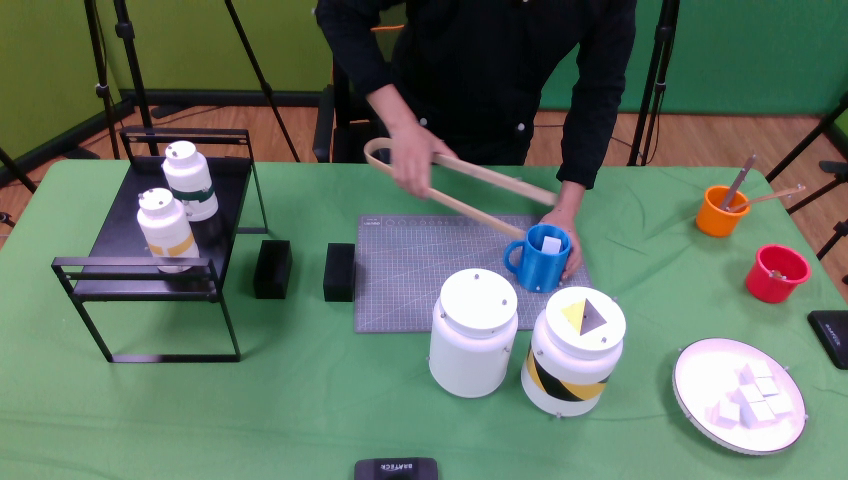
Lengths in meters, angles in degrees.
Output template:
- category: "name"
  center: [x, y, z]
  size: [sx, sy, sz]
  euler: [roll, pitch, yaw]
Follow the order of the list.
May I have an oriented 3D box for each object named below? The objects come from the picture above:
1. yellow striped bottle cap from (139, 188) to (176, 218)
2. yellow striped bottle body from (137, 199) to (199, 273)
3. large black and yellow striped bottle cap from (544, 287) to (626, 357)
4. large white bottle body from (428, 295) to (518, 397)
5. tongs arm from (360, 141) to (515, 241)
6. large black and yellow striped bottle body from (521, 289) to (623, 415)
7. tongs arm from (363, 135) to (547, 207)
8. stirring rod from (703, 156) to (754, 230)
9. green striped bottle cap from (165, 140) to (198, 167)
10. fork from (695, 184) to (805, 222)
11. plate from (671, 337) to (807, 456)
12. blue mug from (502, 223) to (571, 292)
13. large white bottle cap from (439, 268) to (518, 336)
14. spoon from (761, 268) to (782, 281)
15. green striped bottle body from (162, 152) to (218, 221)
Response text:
- category: "yellow striped bottle cap"
  center: [-0.363, -0.051, 0.826]
  size: [0.044, 0.019, 0.044]
  euler: [1, 47, -1]
- category: "yellow striped bottle body"
  center: [-0.366, -0.014, 0.864]
  size: [0.063, 0.121, 0.062]
  euler: [2, 46, -2]
- category: "large black and yellow striped bottle cap"
  center: [0.232, 0.116, 0.876]
  size: [0.115, 0.019, 0.114]
  euler: [2, 46, -1]
- category: "large white bottle body"
  center: [0.076, 0.147, 0.950]
  size: [0.131, 0.185, 0.130]
  euler: [2, 46, -2]
- category: "tongs arm"
  center: [0.010, -0.093, 1.086]
  size: [0.385, 0.028, 0.028]
  euler: [32, 65, 32]
- category: "large black and yellow striped bottle body"
  center: [0.228, 0.173, 0.938]
  size: [0.131, 0.185, 0.130]
  euler: [2, 47, -2]
- category: "tongs arm"
  center: [0.045, -0.127, 1.112]
  size: [0.383, 0.027, 0.050]
  euler: [27, 59, 29]
- category: "stirring rod"
  center: [0.631, -0.098, 1.258]
  size: [0.014, 0.006, 0.176]
  euler: [33, 95, 29]
- category: "green striped bottle cap"
  center: [-0.361, -0.128, 0.902]
  size: [0.044, 0.020, 0.044]
  euler: [3, 47, -3]
- category: "fork"
  center: [0.657, -0.075, 1.230]
  size: [0.207, 0.019, 0.028]
  euler: [-23, 34, 37]
- category: "plate"
  center: [0.503, 0.254, 0.984]
  size: [0.208, 0.039, 0.206]
  euler: [2, 46, -2]
- category: "blue mug"
  center: [0.202, 0.031, 1.121]
  size: [0.116, 0.106, 0.082]
  euler: [5, 47, 1]
- category: "large white bottle cap"
  center: [0.080, 0.089, 0.888]
  size: [0.115, 0.018, 0.114]
  euler: [2, 47, -2]
- category: "spoon"
  center: [0.638, 0.060, 1.105]
  size: [0.041, 0.021, 0.194]
  euler: [38, 11, 24]
- category: "green striped bottle body"
  center: [-0.363, -0.092, 0.939]
  size: [0.063, 0.120, 0.063]
  euler: [2, 46, -2]
